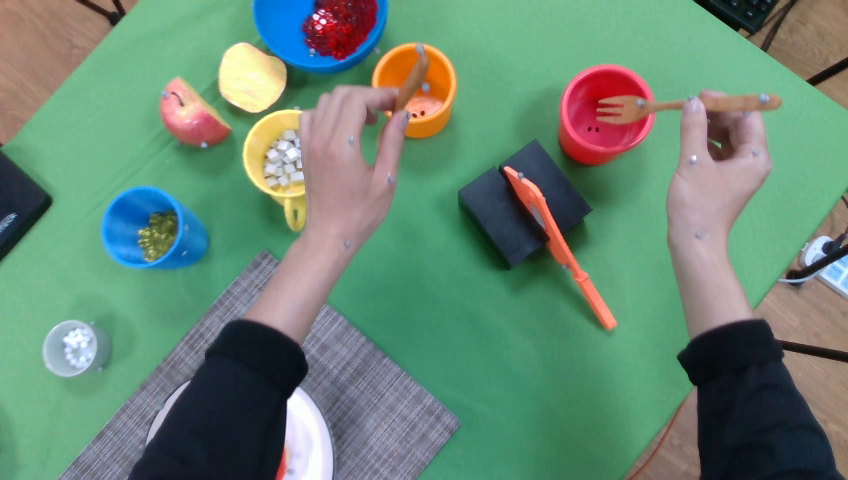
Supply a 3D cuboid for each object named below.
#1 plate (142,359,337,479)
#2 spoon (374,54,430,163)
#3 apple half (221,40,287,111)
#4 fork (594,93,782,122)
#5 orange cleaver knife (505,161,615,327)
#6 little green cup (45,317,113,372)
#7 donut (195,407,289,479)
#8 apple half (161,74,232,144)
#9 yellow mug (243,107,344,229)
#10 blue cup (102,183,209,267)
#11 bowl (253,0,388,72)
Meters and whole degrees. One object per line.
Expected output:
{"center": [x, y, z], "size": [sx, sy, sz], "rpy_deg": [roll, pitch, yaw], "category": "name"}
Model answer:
{"center": [-0.195, 0.233, 0.654], "size": [0.209, 0.038, 0.208], "rpy_deg": [0, 82, 3], "category": "plate"}
{"center": [-0.022, -0.107, 0.516], "size": [0.022, 0.194, 0.041], "rpy_deg": [-11, 83, -12], "category": "spoon"}
{"center": [-0.203, -0.193, 0.723], "size": [0.081, 0.032, 0.081], "rpy_deg": [0, 96, -3], "category": "apple half"}
{"center": [0.222, -0.120, 0.541], "size": [0.019, 0.206, 0.028], "rpy_deg": [11, 95, -23], "category": "fork"}
{"center": [0.146, 0.006, 0.651], "size": [0.012, 0.076, 0.213], "rpy_deg": [-35, 111, -2], "category": "orange cleaver knife"}
{"center": [-0.387, 0.118, 0.685], "size": [0.061, 0.039, 0.061], "rpy_deg": [0, 81, 3], "category": "little green cup"}
{"center": [-0.193, 0.227, 0.643], "size": [0.099, 0.048, 0.099], "rpy_deg": [0, 83, 4], "category": "donut"}
{"center": [-0.268, -0.142, 0.699], "size": [0.053, 0.075, 0.080], "rpy_deg": [-44, 85, 0], "category": "apple half"}
{"center": [-0.146, -0.077, 0.686], "size": [0.100, 0.064, 0.130], "rpy_deg": [-2, 83, 3], "category": "yellow mug"}
{"center": [-0.284, -0.009, 0.666], "size": [0.092, 0.100, 0.092], "rpy_deg": [0, 82, 2], "category": "blue cup"}
{"center": [-0.112, -0.257, 0.705], "size": [0.151, 0.077, 0.151], "rpy_deg": [0, 82, 3], "category": "bowl"}
